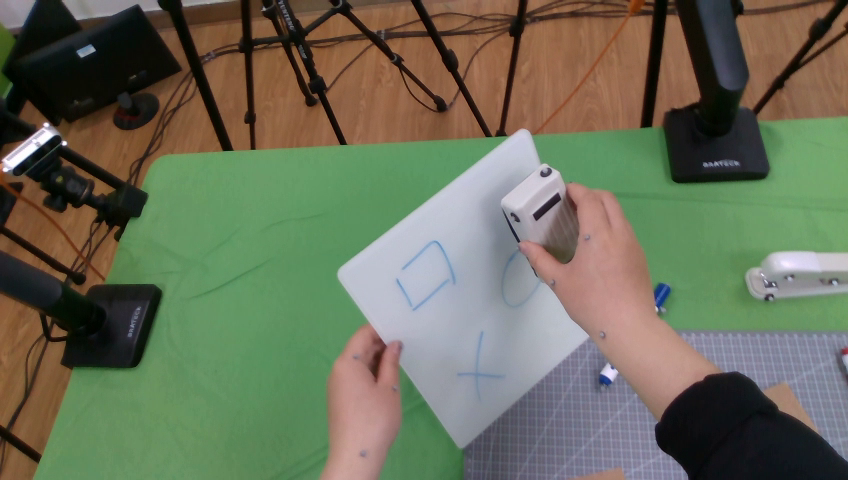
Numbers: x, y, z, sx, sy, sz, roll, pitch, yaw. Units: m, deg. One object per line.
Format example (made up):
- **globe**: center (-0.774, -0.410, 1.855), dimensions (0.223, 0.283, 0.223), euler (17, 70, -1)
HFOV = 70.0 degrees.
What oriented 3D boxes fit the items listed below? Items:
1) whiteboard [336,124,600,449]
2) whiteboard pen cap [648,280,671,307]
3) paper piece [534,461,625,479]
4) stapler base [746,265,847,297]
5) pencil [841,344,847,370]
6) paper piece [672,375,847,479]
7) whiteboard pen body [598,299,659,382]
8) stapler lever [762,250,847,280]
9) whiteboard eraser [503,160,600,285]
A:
- **whiteboard**: center (0.037, 0.039, 0.661), dimensions (0.217, 0.309, 0.142), euler (-37, 39, -10)
- **whiteboard pen cap**: center (0.282, 0.065, 0.727), dimensions (0.018, 0.018, 0.033), euler (28, 68, 25)
- **paper piece**: center (0.156, 0.307, 0.615), dimensions (0.135, 0.004, 0.134), euler (-14, 58, 3)
- **stapler base**: center (0.451, 0.040, 0.709), dimensions (0.130, 0.024, 0.041), euler (-5, 61, 6)
- **pencil**: center (0.460, 0.198, 0.616), dimensions (0.012, 0.012, 0.192), euler (-4, 61, 9)
- **paper piece**: center (0.352, 0.226, 0.624), dimensions (0.136, 0.009, 0.137), euler (-22, 60, 3)
- **whiteboard pen body**: center (0.246, 0.107, 0.710), dimensions (0.017, 0.017, 0.140), euler (31, 70, 26)
- **stapler lever**: center (0.448, 0.027, 0.688), dimensions (0.118, 0.040, 0.026), euler (-6, 61, 7)
- **whiteboard eraser**: center (0.114, -0.014, 0.546), dimensions (0.055, 0.114, 0.041), euler (-39, 37, -4)
